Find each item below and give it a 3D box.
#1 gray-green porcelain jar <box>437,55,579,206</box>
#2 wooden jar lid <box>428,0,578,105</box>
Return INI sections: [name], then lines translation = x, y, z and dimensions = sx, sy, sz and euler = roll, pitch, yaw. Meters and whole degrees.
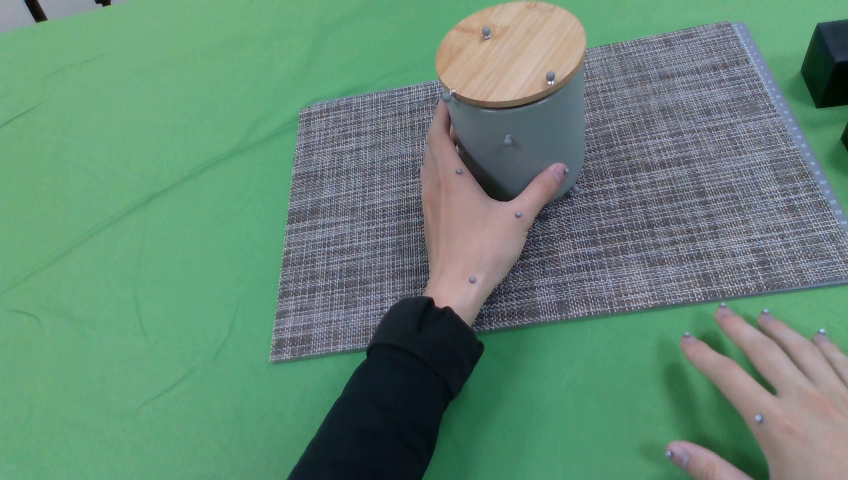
[gray-green porcelain jar]
translation = 0.072, -0.098, 0.494
dimensions = 0.106, 0.128, 0.105
euler = -7, 54, 11
[wooden jar lid]
translation = 0.058, -0.134, 0.442
dimensions = 0.108, 0.021, 0.107
euler = -7, 56, 10
